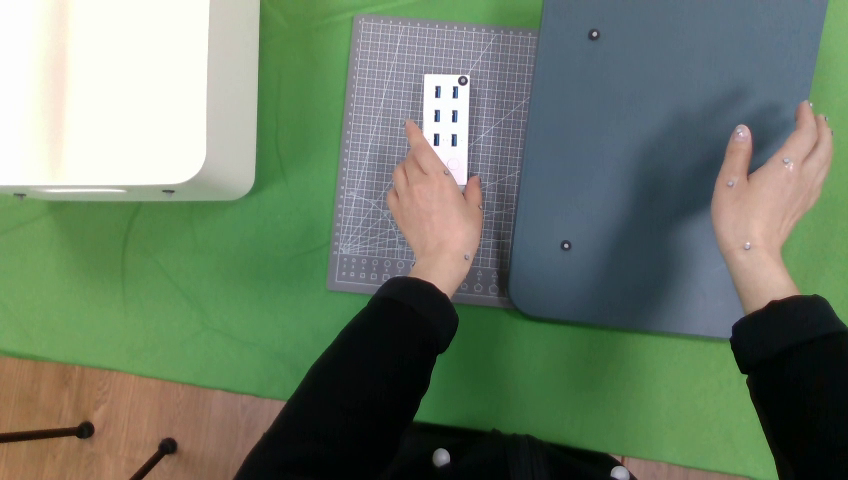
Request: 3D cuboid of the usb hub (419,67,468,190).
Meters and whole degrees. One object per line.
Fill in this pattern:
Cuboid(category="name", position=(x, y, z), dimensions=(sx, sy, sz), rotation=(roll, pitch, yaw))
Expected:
Cuboid(category="usb hub", position=(0.021, -0.116, 0.633), dimensions=(0.049, 0.025, 0.125), rotation=(2, 88, 1))

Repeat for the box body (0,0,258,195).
Cuboid(category="box body", position=(-0.302, -0.224, 0.582), dimensions=(0.254, 0.160, 0.363), rotation=(0, 87, 1))

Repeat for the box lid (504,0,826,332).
Cuboid(category="box lid", position=(0.228, -0.095, 0.595), dimensions=(0.263, 0.015, 0.372), rotation=(6, 100, 3))
